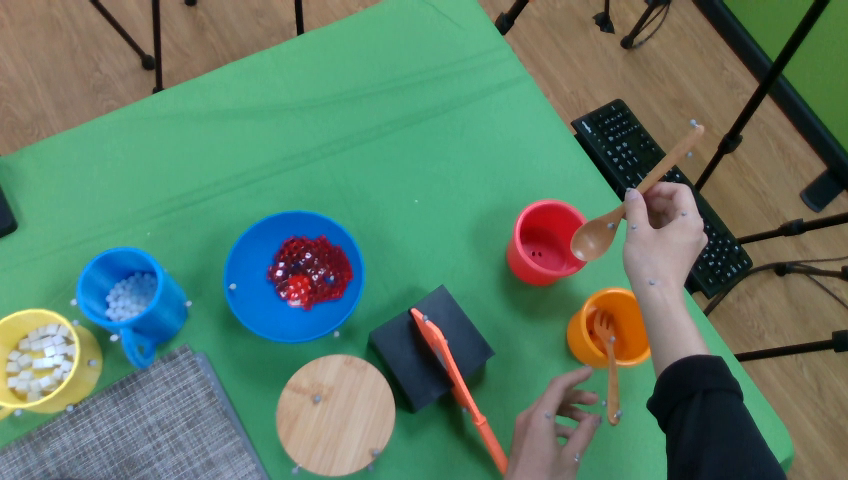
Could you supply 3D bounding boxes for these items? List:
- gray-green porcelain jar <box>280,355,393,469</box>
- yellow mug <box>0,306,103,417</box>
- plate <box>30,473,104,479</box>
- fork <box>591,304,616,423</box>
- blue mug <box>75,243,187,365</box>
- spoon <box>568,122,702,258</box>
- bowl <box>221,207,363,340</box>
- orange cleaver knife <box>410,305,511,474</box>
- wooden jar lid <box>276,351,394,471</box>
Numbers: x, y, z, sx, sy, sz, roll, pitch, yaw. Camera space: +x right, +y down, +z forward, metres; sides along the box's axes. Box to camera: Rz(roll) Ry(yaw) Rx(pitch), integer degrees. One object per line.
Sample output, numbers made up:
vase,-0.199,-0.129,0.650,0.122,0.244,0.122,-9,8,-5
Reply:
gray-green porcelain jar,-0.090,0.181,0.627,0.106,0.127,0.105,3,70,-7
yellow mug,-0.411,0.136,0.629,0.100,0.064,0.130,37,71,6
plate,-0.355,0.332,0.579,0.209,0.038,0.207,3,71,-7
fork,0.202,0.130,0.673,0.028,0.019,0.206,33,26,-2
blue mug,-0.306,0.075,0.644,0.082,0.106,0.116,-9,72,-11
spoon,0.222,-0.049,0.646,0.022,0.194,0.041,-22,66,-47
bowl,-0.146,0.046,0.691,0.152,0.077,0.150,3,71,-7
orange cleaver knife,0.039,0.166,0.673,0.012,0.077,0.212,-30,104,-14
wooden jar lid,-0.083,0.159,0.568,0.109,0.021,0.107,4,72,-10
